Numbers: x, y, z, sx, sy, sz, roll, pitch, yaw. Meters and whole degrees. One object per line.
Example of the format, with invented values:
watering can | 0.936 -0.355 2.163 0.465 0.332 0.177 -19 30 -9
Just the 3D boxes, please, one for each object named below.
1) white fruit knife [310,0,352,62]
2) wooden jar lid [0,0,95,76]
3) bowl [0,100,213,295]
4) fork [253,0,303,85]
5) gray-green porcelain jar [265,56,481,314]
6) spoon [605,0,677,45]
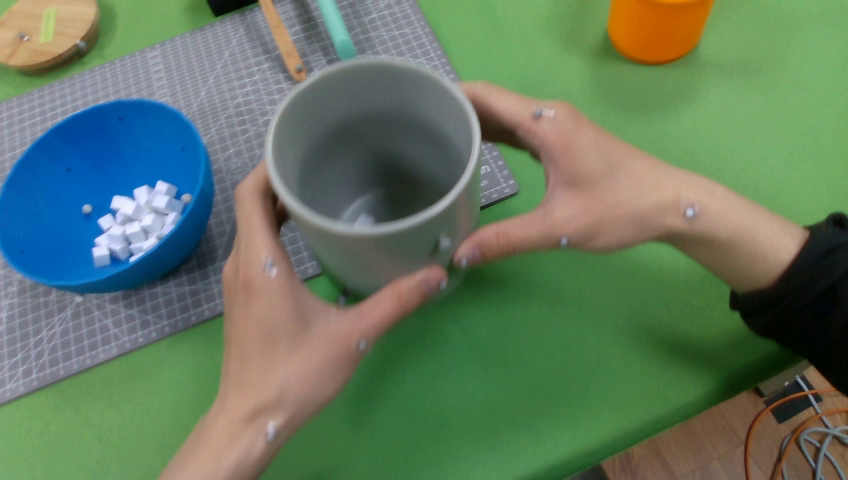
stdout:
white fruit knife | -0.109 -0.247 0.548 0.016 0.027 0.206 -23 76 -6
wooden jar lid | -0.374 -0.203 0.596 0.108 0.021 0.107 -2 63 4
bowl | -0.218 -0.019 0.445 0.151 0.077 0.150 -3 62 6
fork | -0.155 -0.229 0.544 0.028 0.019 0.206 -25 81 -11
gray-green porcelain jar | -0.021 -0.022 0.346 0.106 0.127 0.105 -1 64 3
spoon | 0.219 -0.218 0.454 0.022 0.194 0.041 5 58 -41
